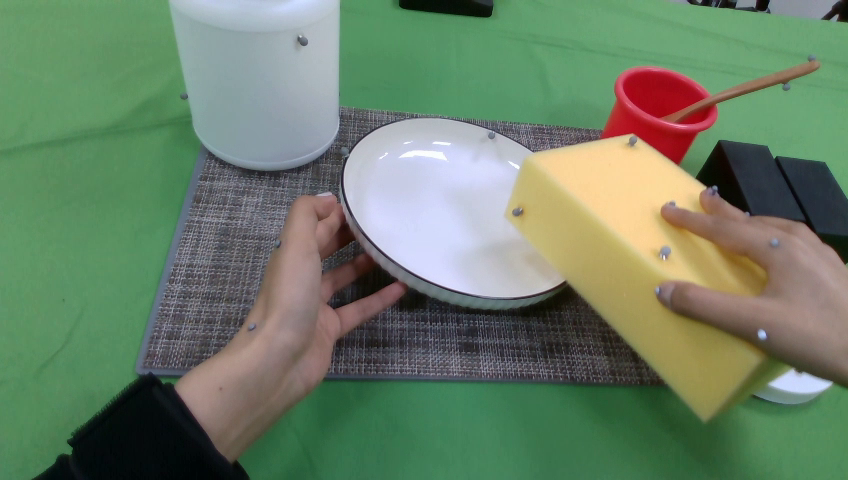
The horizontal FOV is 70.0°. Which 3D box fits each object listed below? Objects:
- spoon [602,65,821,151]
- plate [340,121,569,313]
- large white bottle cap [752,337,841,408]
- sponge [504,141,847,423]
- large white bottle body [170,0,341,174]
[{"bbox_3d":[0.264,-0.120,0.570,0.193,0.022,0.041,-22,39,30],"label":"spoon"},{"bbox_3d":[0.033,-0.020,0.498,0.210,0.038,0.207,11,45,-11],"label":"plate"},{"bbox_3d":[0.272,0.078,0.483,0.115,0.018,0.113,7,48,-8],"label":"large white bottle cap"},{"bbox_3d":[0.170,0.014,0.430,0.118,0.061,0.204,-16,47,-31],"label":"sponge"},{"bbox_3d":[-0.135,-0.163,0.505,0.131,0.186,0.129,5,48,-5],"label":"large white bottle body"}]
